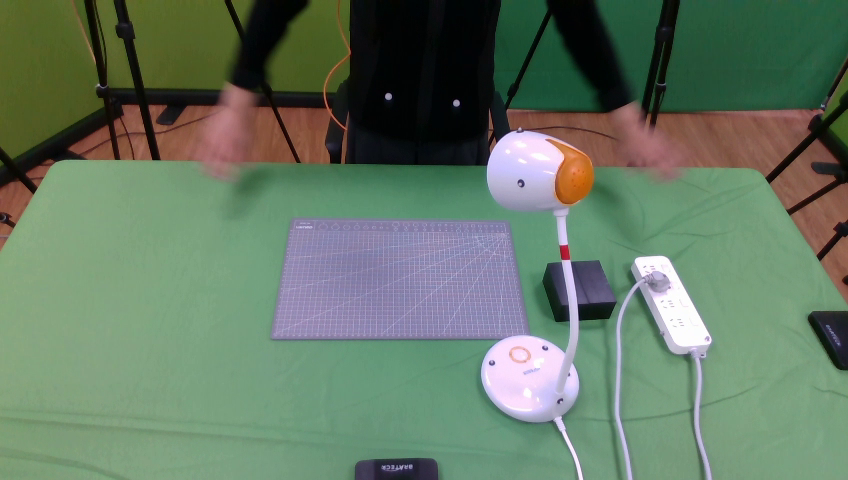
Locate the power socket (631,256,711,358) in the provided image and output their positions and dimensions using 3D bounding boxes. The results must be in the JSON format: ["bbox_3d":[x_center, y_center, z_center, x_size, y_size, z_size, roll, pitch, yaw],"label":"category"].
[{"bbox_3d":[0.449,0.115,1.112,0.072,0.033,0.225,-4,47,-6],"label":"power socket"}]

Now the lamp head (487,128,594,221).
[{"bbox_3d":[0.160,-0.084,0.792,0.112,0.113,0.122,-24,28,-25],"label":"lamp head"}]

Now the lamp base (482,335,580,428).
[{"bbox_3d":[0.184,0.177,0.928,0.161,0.181,0.178,-22,53,-23],"label":"lamp base"}]

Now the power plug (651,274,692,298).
[{"bbox_3d":[0.445,0.093,1.102,0.035,0.053,0.072,-24,56,-7],"label":"power plug"}]
